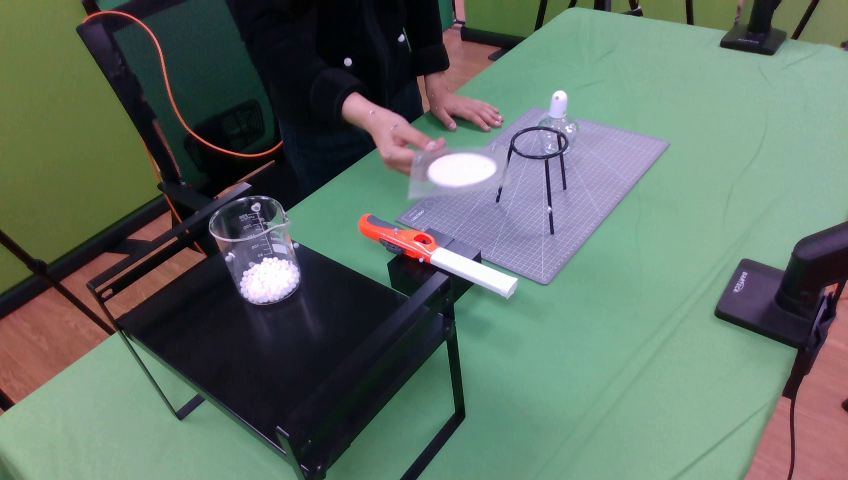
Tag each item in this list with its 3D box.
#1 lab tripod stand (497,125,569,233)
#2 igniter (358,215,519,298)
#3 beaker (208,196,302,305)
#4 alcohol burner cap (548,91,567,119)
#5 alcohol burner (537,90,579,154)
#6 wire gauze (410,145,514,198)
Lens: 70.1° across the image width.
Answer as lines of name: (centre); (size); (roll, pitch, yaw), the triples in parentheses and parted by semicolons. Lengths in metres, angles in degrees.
lab tripod stand: (0.189, -0.104, 0.979); (0.148, 0.132, 0.147); (-3, 42, 3)
igniter: (0.010, 0.018, 0.876); (0.274, 0.025, 0.057); (23, 46, 28)
beaker: (-0.173, 0.014, 0.647); (0.084, 0.101, 0.073); (0, 41, 8)
alcohol burner cap: (0.245, -0.247, 1.098); (0.034, 0.048, 0.033); (-1, 45, 1)
alcohol burner: (0.248, -0.220, 1.122); (0.078, 0.119, 0.077); (-6, 39, 5)
wire gauze: (0.046, -0.090, 0.746); (0.121, 0.011, 0.124); (-4, 34, 6)
